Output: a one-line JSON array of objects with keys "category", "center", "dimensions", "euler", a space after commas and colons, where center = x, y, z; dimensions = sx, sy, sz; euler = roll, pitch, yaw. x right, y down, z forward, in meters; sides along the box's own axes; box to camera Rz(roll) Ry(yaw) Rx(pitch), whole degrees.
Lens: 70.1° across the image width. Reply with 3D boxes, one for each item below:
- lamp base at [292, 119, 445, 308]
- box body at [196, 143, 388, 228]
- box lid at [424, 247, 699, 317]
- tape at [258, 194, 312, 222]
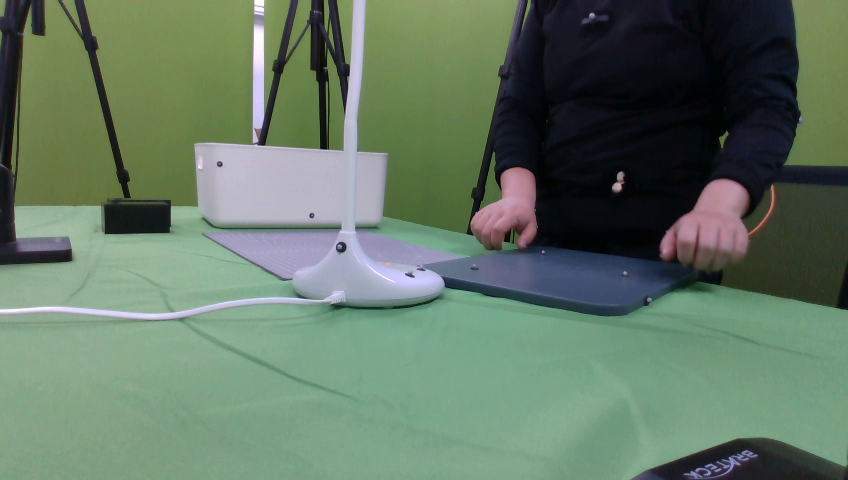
[{"category": "lamp base", "center": [-0.056, -0.030, 0.616], "dimensions": [0.160, 0.180, 0.179], "euler": [4, 10, 8]}, {"category": "box body", "center": [-0.286, -0.118, 1.291], "dimensions": [0.366, 0.160, 0.253], "euler": [-1, 8, -27]}, {"category": "box lid", "center": [0.184, 0.044, 0.789], "dimensions": [0.262, 0.015, 0.373], "euler": [8, 9, 35]}, {"category": "tape", "center": [-0.299, -0.070, 1.297], "dimensions": [0.117, 0.052, 0.117], "euler": [3, 7, 0]}]
